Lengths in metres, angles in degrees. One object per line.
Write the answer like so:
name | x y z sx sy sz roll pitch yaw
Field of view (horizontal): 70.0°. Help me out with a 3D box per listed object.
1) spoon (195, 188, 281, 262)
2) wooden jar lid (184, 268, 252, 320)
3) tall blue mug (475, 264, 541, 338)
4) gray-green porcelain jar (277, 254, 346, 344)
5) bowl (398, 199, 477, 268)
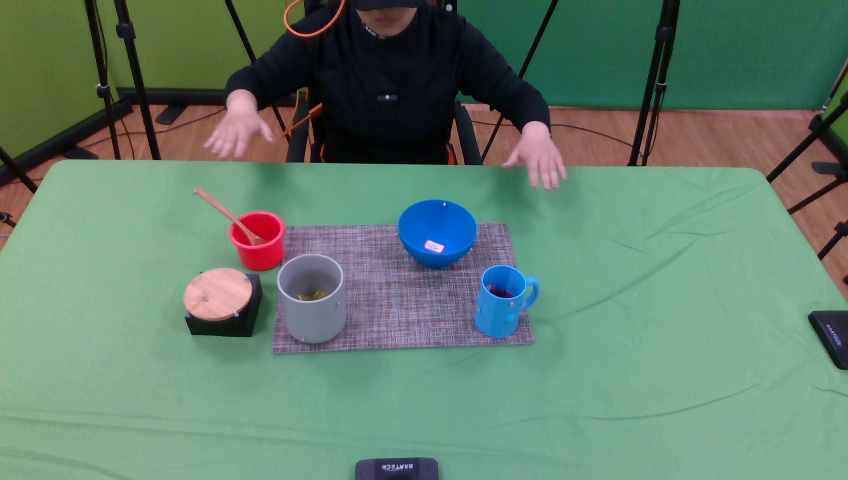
spoon | -0.342 -0.028 1.117 0.194 0.021 0.041 47 49 -20
wooden jar lid | -0.343 0.092 1.015 0.108 0.021 0.107 3 46 -3
tall blue mug | 0.141 0.098 1.047 0.077 0.108 0.107 33 53 27
gray-green porcelain jar | -0.184 0.102 1.007 0.106 0.127 0.105 2 46 -2
bowl | 0.024 0.000 1.156 0.151 0.077 0.150 2 46 -2
